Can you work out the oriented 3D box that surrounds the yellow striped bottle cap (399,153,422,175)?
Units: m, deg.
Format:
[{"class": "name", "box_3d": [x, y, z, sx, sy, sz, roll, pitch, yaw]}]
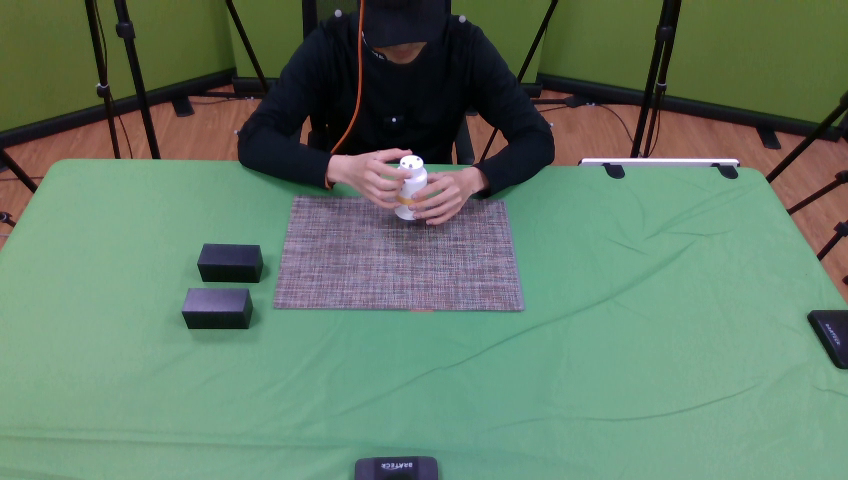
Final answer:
[{"class": "yellow striped bottle cap", "box_3d": [-0.025, -0.143, 1.136, 0.044, 0.019, 0.044, 3, 48, -3]}]

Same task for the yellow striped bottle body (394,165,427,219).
[{"class": "yellow striped bottle body", "box_3d": [-0.026, -0.104, 1.173, 0.063, 0.121, 0.062, 0, 44, 0]}]
